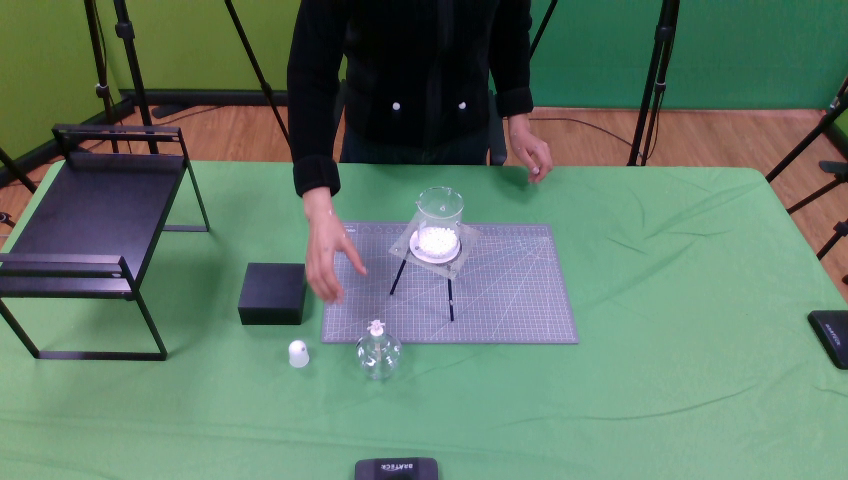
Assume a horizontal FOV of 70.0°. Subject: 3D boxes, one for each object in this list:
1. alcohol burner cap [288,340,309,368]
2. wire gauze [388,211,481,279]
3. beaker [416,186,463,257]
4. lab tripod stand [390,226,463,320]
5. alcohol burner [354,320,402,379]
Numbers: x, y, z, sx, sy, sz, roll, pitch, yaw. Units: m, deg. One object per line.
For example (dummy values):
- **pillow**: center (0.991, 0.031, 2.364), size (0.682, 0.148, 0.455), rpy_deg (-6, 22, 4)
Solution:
- **alcohol burner cap**: center (-0.207, 0.183, 0.991), size (0.034, 0.048, 0.033), rpy_deg (3, 47, -3)
- **wire gauze**: center (0.018, 0.003, 1.020), size (0.125, 0.011, 0.121), rpy_deg (20, 47, 18)
- **beaker**: center (0.024, -0.029, 0.984), size (0.074, 0.101, 0.083), rpy_deg (19, 49, 14)
- **lab tripod stand**: center (0.014, 0.053, 1.063), size (0.148, 0.132, 0.147), rpy_deg (1, 48, -1)
- **alcohol burner**: center (-0.074, 0.169, 0.964), size (0.078, 0.120, 0.077), rpy_deg (0, 46, 0)
